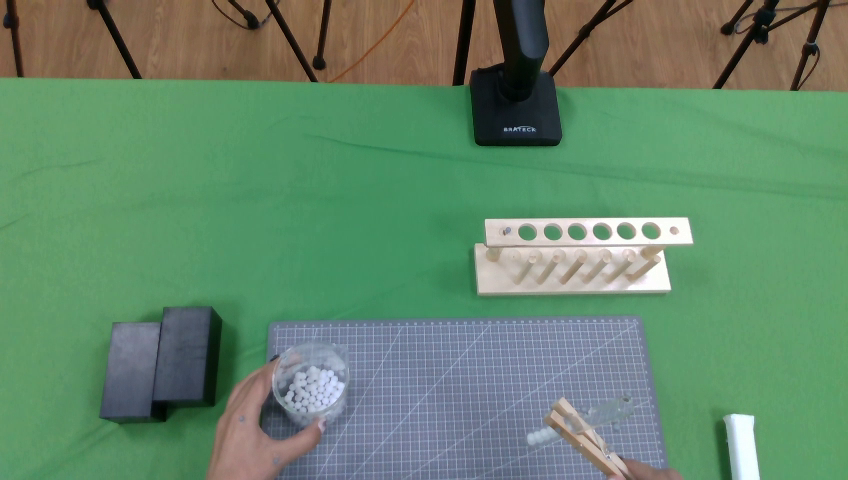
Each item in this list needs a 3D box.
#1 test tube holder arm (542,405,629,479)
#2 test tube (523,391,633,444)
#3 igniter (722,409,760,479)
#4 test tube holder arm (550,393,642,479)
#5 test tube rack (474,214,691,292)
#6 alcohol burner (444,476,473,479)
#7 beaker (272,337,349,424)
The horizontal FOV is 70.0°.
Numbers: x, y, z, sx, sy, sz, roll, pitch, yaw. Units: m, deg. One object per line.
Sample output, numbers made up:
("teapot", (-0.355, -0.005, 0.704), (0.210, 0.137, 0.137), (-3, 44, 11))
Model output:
("test tube holder arm", (0.137, 0.173, 0.513), (0.088, 0.015, 0.010), (40, 57, 1))
("test tube", (0.125, 0.153, 0.514), (0.017, 0.150, 0.017), (10, 60, -18))
("igniter", (0.353, 0.324, 0.650), (0.057, 0.025, 0.274), (9, 67, -12))
("test tube holder arm", (0.173, 0.201, 0.513), (0.178, 0.015, 0.013), (47, 58, 5))
("test tube rack", (0.187, 0.017, 0.730), (0.243, 0.085, 0.066), (-1, 67, -5))
("alcohol burner", (0.036, 0.272, 0.593), (0.078, 0.120, 0.077), (2, 65, -5))
("beaker", (-0.113, 0.149, 0.634), (0.073, 0.101, 0.084), (43, 66, 12))
